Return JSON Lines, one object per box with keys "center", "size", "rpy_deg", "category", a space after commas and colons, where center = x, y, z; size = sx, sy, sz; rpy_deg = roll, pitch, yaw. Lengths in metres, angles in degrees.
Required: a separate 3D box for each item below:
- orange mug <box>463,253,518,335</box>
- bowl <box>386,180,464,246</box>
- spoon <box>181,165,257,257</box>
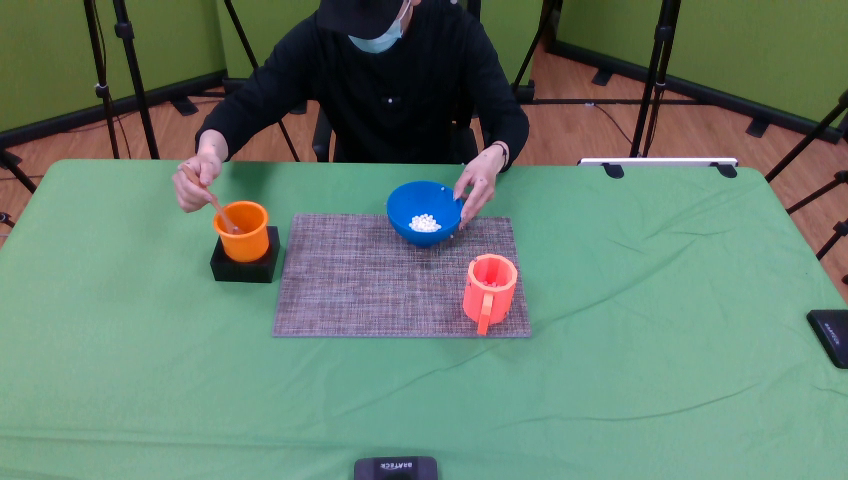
{"center": [0.113, 0.098, 1.050], "size": [0.083, 0.101, 0.125], "rpy_deg": [10, 42, 6], "category": "orange mug"}
{"center": [0.000, -0.041, 1.191], "size": [0.151, 0.077, 0.150], "rpy_deg": [2, 46, -2], "category": "bowl"}
{"center": [-0.352, -0.049, 1.046], "size": [0.021, 0.194, 0.041], "rpy_deg": [4, 41, 47], "category": "spoon"}
